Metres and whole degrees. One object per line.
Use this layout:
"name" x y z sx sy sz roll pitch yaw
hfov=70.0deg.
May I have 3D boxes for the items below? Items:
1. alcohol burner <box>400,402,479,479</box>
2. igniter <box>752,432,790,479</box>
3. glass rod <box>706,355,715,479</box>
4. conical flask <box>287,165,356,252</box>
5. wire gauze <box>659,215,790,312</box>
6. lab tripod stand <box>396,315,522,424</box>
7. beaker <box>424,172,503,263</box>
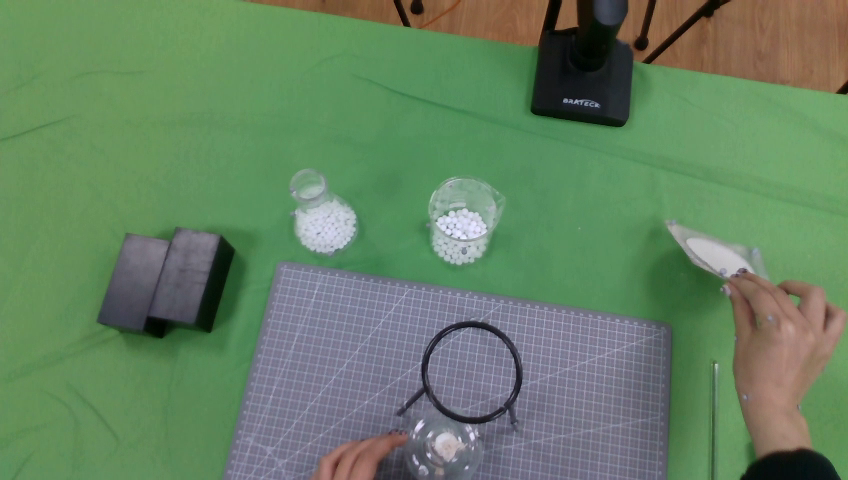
"alcohol burner" 0.016 0.193 0.583 0.078 0.120 0.077 1 70 -2
"igniter" 0.353 0.331 0.591 0.057 0.025 0.275 6 72 -10
"glass rod" 0.301 0.219 0.636 0.008 0.008 0.198 9 72 2
"conical flask" -0.116 -0.039 0.655 0.075 0.122 0.075 0 71 0
"wire gauze" 0.324 0.018 0.659 0.125 0.011 0.120 23 30 -3
"lab tripod stand" 0.038 0.134 0.591 0.148 0.132 0.147 0 73 0
"beaker" 0.041 -0.022 0.664 0.084 0.101 0.073 -16 73 -7
